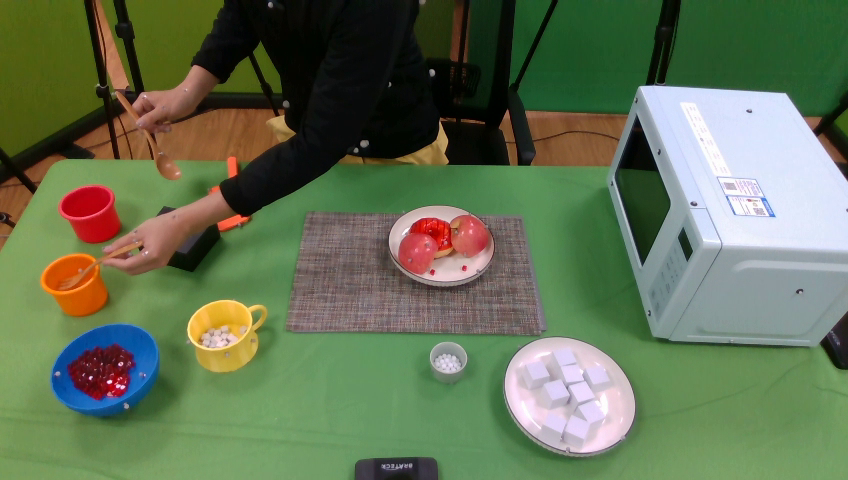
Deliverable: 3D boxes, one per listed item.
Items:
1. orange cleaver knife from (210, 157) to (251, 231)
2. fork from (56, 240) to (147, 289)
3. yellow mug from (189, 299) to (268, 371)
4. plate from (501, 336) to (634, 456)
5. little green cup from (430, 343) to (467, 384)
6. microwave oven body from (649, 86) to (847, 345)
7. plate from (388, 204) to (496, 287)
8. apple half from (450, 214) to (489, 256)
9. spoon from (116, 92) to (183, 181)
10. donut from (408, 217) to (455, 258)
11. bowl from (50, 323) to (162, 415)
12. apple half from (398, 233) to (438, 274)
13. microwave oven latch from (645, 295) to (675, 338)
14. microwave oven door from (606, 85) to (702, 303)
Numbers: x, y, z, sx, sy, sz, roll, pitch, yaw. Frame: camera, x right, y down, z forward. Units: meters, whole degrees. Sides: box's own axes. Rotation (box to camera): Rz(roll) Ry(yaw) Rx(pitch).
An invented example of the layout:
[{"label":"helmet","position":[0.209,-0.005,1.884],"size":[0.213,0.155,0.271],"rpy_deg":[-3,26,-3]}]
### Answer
[{"label":"orange cleaver knife","position":[-0.408,-0.099,1.266],"size":[0.077,0.012,0.210],"rpy_deg":[-15,50,-8]},{"label":"fork","position":[-0.535,0.041,1.003],"size":[0.207,0.019,0.028],"rpy_deg":[-25,39,21]},{"label":"yellow mug","position":[-0.316,0.148,1.002],"size":[0.131,0.064,0.099],"rpy_deg":[-33,56,-31]},{"label":"plate","position":[0.225,0.248,0.964],"size":[0.208,0.039,0.206],"rpy_deg":[2,46,-2]},{"label":"little green cup","position":[0.039,0.203,0.994],"size":[0.061,0.039,0.061],"rpy_deg":[2,46,-2]},{"label":"microwave oven body","position":[0.568,-0.053,1.118],"size":[0.326,0.261,0.439],"rpy_deg":[2,45,-1]},{"label":"plate","position":[0.033,0.014,1.171],"size":[0.209,0.038,0.208],"rpy_deg":[2,46,-2]},{"label":"apple half","position":[0.092,-0.013,1.158],"size":[0.075,0.053,0.080],"rpy_deg":[34,39,-28]},{"label":"spoon","position":[-0.527,-0.198,1.164],"size":[0.021,0.194,0.041],"rpy_deg":[-14,20,43]},{"label":"donut","position":[0.019,-0.006,1.174],"size":[0.099,0.048,0.098],"rpy_deg":[4,42,-3]},{"label":"bowl","position":[-0.472,0.209,0.924],"size":[0.151,0.077,0.150],"rpy_deg":[3,45,-2]},{"label":"apple half","position":[-0.016,0.022,1.123],"size":[0.081,0.033,0.081],"rpy_deg":[-2,83,14]},{"label":"microwave oven latch","position":[0.412,0.134,1.062],"size":[0.030,0.029,0.078],"rpy_deg":[3,45,0]},{"label":"microwave oven door","position":[0.423,-0.094,1.140],"size":[0.039,0.245,0.353],"rpy_deg":[2,46,-1]}]
